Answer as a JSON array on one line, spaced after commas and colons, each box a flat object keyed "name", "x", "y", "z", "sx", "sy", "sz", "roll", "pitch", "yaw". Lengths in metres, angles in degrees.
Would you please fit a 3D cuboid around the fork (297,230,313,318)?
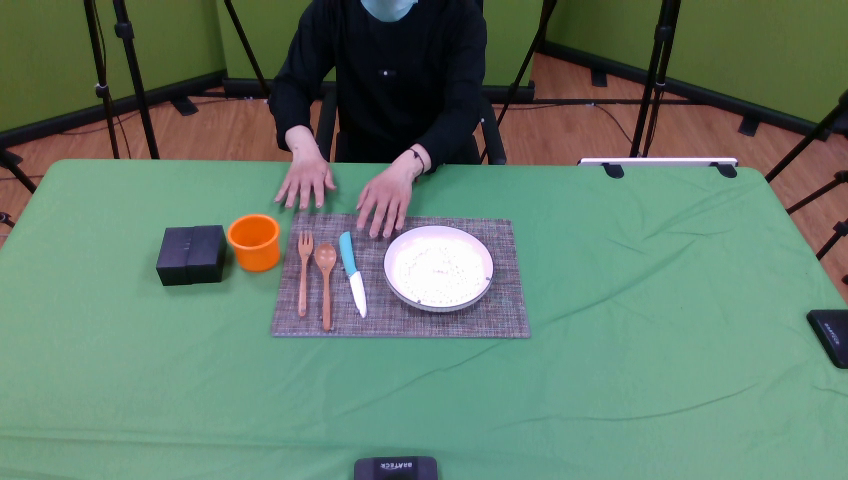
[{"name": "fork", "x": -0.223, "y": 0.058, "z": 1.121, "sx": 0.028, "sy": 0.019, "sz": 0.206, "roll": 4, "pitch": 44, "yaw": -11}]

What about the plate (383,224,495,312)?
[{"name": "plate", "x": 0.026, "y": 0.055, "z": 1.128, "sx": 0.209, "sy": 0.038, "sz": 0.208, "roll": 2, "pitch": 46, "yaw": -2}]

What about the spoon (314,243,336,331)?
[{"name": "spoon", "x": -0.179, "y": 0.082, "z": 1.098, "sx": 0.042, "sy": 0.022, "sz": 0.192, "roll": 8, "pitch": 44, "yaw": -17}]

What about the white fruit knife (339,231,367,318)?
[{"name": "white fruit knife", "x": -0.132, "y": 0.062, "z": 1.125, "sx": 0.027, "sy": 0.016, "sz": 0.206, "roll": -18, "pitch": 49, "yaw": -3}]
